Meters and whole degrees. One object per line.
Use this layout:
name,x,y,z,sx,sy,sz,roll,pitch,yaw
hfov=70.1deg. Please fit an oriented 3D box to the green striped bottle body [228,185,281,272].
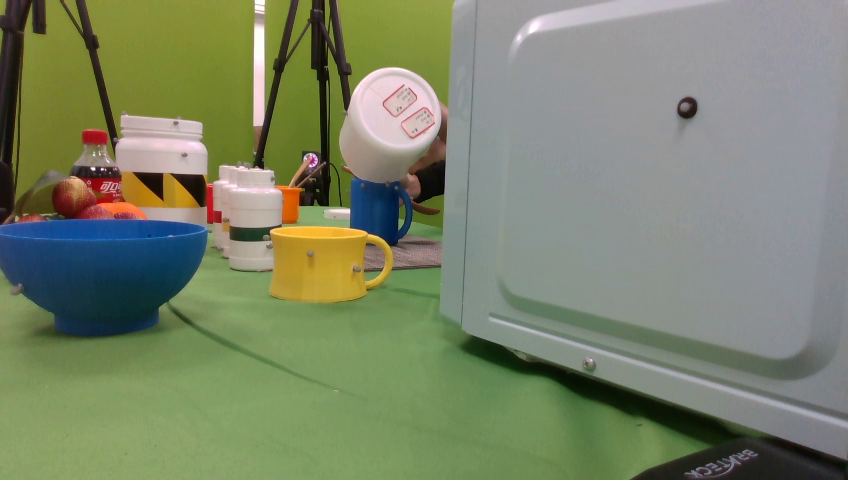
green striped bottle body,-0.208,-0.024,0.745,0.063,0.119,0.063,2,7,0

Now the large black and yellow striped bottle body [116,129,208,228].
large black and yellow striped bottle body,-0.404,-0.089,0.937,0.131,0.184,0.130,3,7,0

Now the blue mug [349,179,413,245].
blue mug,-0.069,-0.047,1.001,0.116,0.106,0.083,6,9,29

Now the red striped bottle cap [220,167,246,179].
red striped bottle cap,-0.281,-0.099,0.901,0.044,0.017,0.044,-1,5,0

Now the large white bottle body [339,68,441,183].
large white bottle body,-0.058,-0.162,0.916,0.131,0.130,0.184,1,-12,-14

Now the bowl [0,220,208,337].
bowl,-0.251,0.029,0.479,0.151,0.077,0.151,2,7,0

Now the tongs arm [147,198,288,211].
tongs arm,-0.503,-0.090,1.513,0.028,0.028,0.389,-1,3,38

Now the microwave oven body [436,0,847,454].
microwave oven body,0.279,-0.040,0.464,0.444,0.260,0.324,-3,9,-41

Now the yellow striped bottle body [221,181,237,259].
yellow striped bottle body,-0.244,-0.035,0.823,0.063,0.120,0.063,3,8,0

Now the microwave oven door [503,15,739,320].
microwave oven door,0.218,-0.065,0.600,0.358,0.243,0.039,-4,10,-41

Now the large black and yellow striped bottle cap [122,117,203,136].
large black and yellow striped bottle cap,-0.399,-0.174,0.927,0.115,0.019,0.115,5,9,-1

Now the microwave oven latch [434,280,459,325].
microwave oven latch,0.044,0.045,0.470,0.079,0.029,0.030,-2,8,-39

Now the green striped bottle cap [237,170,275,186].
green striped bottle cap,-0.205,-0.075,0.737,0.044,0.020,0.044,1,6,0

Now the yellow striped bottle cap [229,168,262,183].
yellow striped bottle cap,-0.240,-0.087,0.816,0.044,0.018,0.044,-3,5,1

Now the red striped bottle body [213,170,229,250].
red striped bottle body,-0.283,-0.047,0.909,0.063,0.119,0.063,3,13,0

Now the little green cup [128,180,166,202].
little green cup,-0.485,-0.087,1.062,0.061,0.038,0.061,-1,6,0

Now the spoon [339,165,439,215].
spoon,-0.061,-0.089,1.066,0.194,0.021,0.041,29,-3,3

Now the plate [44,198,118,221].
plate,-0.617,-0.056,1.179,0.209,0.038,0.209,3,7,0

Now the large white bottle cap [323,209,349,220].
large white bottle cap,-0.184,-0.062,1.449,0.115,0.018,0.115,2,8,0

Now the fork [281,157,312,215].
fork,-0.290,-0.116,1.321,0.028,0.019,0.207,6,51,18

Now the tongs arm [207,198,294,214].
tongs arm,-0.423,-0.084,1.472,0.050,0.026,0.386,1,6,22

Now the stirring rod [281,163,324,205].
stirring rod,-0.278,-0.105,1.293,0.176,0.006,0.014,-47,25,-18

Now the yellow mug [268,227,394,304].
yellow mug,-0.094,0.023,0.629,0.131,0.064,0.099,0,7,-22
